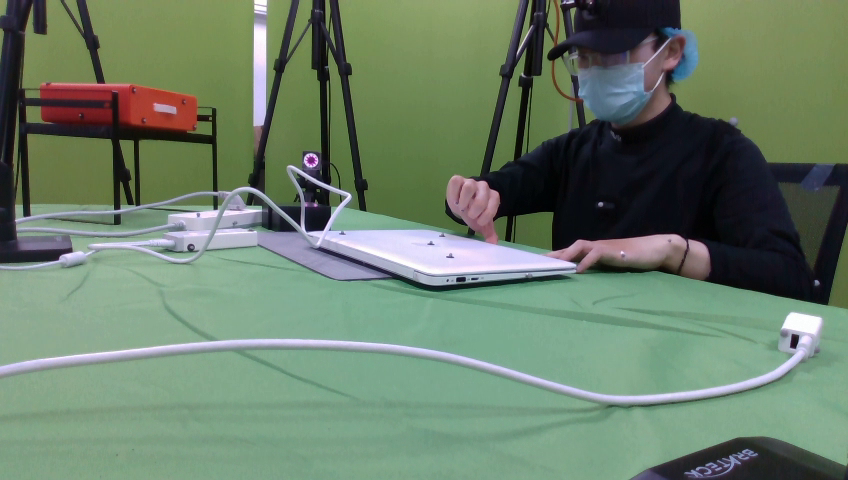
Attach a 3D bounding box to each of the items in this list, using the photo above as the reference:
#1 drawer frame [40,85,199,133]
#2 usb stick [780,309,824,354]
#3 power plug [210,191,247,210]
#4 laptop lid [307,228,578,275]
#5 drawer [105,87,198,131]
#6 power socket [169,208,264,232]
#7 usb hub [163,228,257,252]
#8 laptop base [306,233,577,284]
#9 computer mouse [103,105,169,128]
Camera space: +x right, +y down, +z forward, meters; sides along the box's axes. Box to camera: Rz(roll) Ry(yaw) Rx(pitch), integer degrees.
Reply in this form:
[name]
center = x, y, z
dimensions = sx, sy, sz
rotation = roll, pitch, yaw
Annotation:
[drawer frame]
center = -0.612, -0.266, 1.235
dimensions = 0.213, 0.082, 0.202
rotation = 4, 8, 15
[usb stick]
center = 0.311, 0.072, 0.496
dimensions = 0.027, 0.021, 0.059
rotation = 7, 15, 34
[power plug]
center = -0.386, -0.071, 1.203
dimensions = 0.072, 0.052, 0.035
rotation = 8, 11, 25
[laptop lid]
center = 0.009, 0.008, 0.849
dimensions = 0.243, 0.013, 0.355
rotation = -1, 9, -32
[drawer]
center = -0.609, -0.264, 1.235
dimensions = 0.211, 0.073, 0.195
rotation = 3, 8, 16
[power socket]
center = -0.381, -0.038, 1.128
dimensions = 0.072, 0.032, 0.227
rotation = 4, 8, 17
[usb hub]
center = -0.314, -0.001, 0.894
dimensions = 0.049, 0.025, 0.126
rotation = 9, 10, 41
[laptop base]
center = 0.007, 0.021, 0.850
dimensions = 0.237, 0.023, 0.352
rotation = 1, 7, -34
[computer mouse]
center = -0.581, -0.249, 1.223
dimensions = 0.118, 0.041, 0.062
rotation = 2, 3, -39
